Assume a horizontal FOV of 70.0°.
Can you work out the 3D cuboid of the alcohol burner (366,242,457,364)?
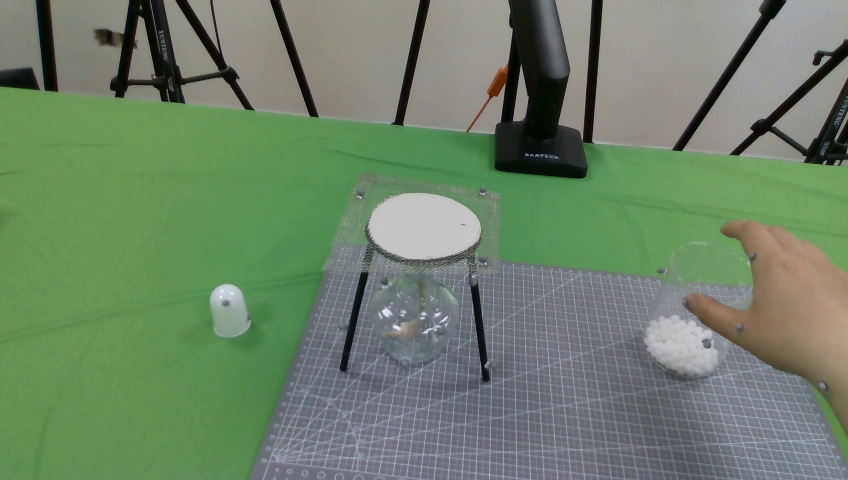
[{"bbox_3d":[-0.009,0.048,0.506,0.078,0.120,0.077,4,40,-3],"label":"alcohol burner"}]

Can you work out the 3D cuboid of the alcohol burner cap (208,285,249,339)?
[{"bbox_3d":[-0.174,0.061,0.536,0.034,0.048,0.033,3,39,-2],"label":"alcohol burner cap"}]

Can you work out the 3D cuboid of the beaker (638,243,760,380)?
[{"bbox_3d":[0.231,0.066,0.520,0.074,0.101,0.083,15,40,14],"label":"beaker"}]

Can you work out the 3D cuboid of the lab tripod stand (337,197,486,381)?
[{"bbox_3d":[-0.007,0.039,0.501,0.148,0.132,0.147,2,37,-1],"label":"lab tripod stand"}]

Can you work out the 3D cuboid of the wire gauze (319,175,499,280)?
[{"bbox_3d":[-0.004,-0.011,0.456,0.121,0.011,0.124,6,37,3],"label":"wire gauze"}]
